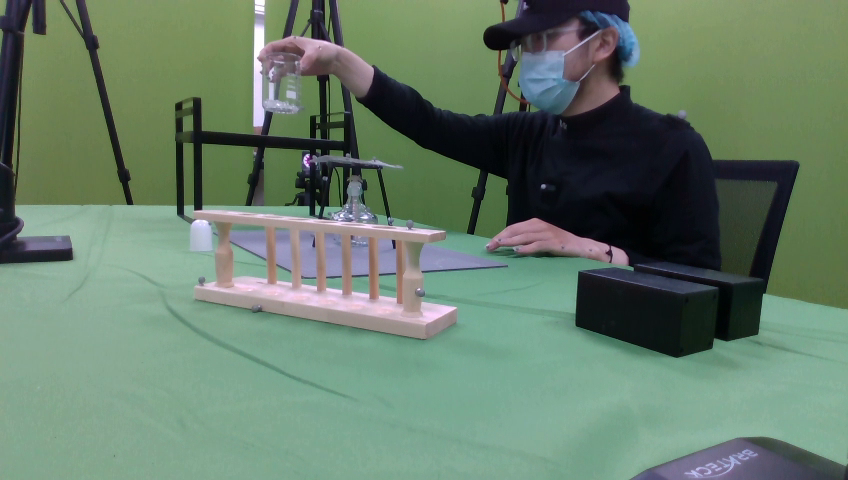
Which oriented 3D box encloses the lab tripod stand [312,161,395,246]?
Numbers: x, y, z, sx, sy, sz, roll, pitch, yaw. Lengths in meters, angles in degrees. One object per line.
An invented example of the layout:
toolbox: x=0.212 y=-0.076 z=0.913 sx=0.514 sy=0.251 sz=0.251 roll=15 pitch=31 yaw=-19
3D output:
lab tripod stand: x=-0.110 y=-0.058 z=0.969 sx=0.148 sy=0.131 sz=0.148 roll=4 pitch=6 yaw=0

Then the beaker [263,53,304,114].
beaker: x=-0.264 y=-0.289 z=1.121 sx=0.073 sy=0.100 sz=0.084 roll=4 pitch=4 yaw=33

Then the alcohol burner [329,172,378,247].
alcohol burner: x=-0.113 y=-0.049 z=0.972 sx=0.078 sy=0.119 sz=0.078 roll=1 pitch=9 yaw=0

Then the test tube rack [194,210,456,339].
test tube rack: x=-0.093 y=0.023 z=0.545 sx=0.241 sy=0.085 sz=0.067 roll=6 pitch=8 yaw=25

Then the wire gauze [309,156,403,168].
wire gauze: x=-0.111 y=-0.124 z=0.955 sx=0.125 sy=0.011 sz=0.121 roll=2 pitch=7 yaw=-22

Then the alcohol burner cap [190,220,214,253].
alcohol burner cap: x=-0.322 y=-0.006 z=0.875 sx=0.034 sy=0.048 sz=0.034 roll=3 pitch=8 yaw=0
